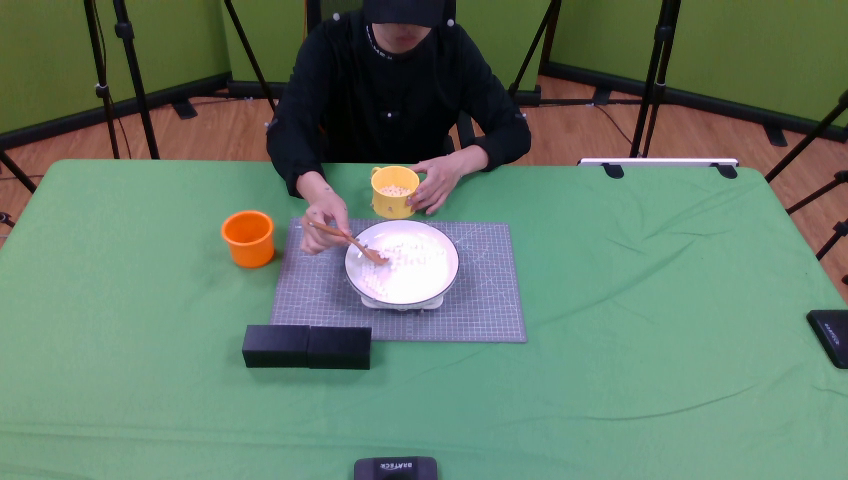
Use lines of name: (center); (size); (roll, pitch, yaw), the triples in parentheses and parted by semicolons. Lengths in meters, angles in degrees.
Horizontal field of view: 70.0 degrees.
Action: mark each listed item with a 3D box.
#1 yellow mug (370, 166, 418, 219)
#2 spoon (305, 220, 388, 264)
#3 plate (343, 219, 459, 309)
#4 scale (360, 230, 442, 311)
yellow mug: (-0.073, -0.108, 1.267); (0.100, 0.064, 0.130); (-29, 54, -31)
spoon: (-0.129, 0.001, 1.038); (0.021, 0.195, 0.041); (-45, 48, 10)
plate: (-0.041, 0.046, 1.094); (0.209, 0.038, 0.208); (2, 46, -2)
scale: (-0.042, 0.048, 1.138); (0.149, 0.032, 0.199); (2, 46, -3)
